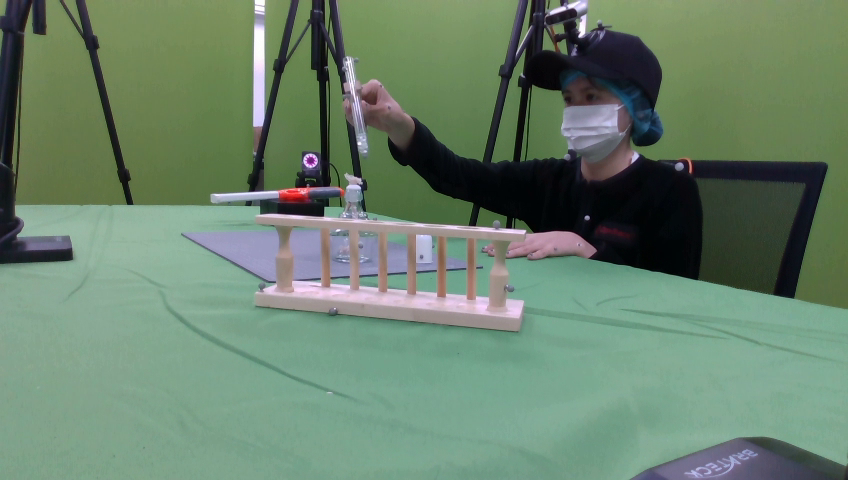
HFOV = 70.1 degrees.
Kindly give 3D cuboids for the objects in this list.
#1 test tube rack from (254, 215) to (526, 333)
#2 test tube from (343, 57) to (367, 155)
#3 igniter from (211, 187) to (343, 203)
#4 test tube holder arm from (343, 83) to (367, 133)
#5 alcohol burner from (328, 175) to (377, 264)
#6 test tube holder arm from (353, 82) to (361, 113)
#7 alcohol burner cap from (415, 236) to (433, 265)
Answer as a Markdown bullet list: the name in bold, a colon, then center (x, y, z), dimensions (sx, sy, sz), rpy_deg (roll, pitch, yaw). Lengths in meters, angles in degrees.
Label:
- **test tube rack**: center (-0.030, 0.025, 0.558), dimensions (0.242, 0.085, 0.067), rpy_deg (4, 7, 12)
- **test tube**: center (-0.100, -0.195, 0.878), dimensions (0.017, 0.150, 0.017), rpy_deg (-9, -12, -2)
- **igniter**: center (-0.300, -0.095, 1.266), dimensions (0.278, 0.025, 0.057), rpy_deg (-6, 12, -34)
- **test tube holder arm**: center (-0.107, -0.204, 0.948), dimensions (0.013, 0.015, 0.178), rpy_deg (-9, -9, 0)
- **alcohol burner**: center (-0.098, -0.028, 0.819), dimensions (0.078, 0.119, 0.078), rpy_deg (1, 8, 0)
- **test tube holder arm**: center (-0.100, -0.212, 0.904), dimensions (0.010, 0.015, 0.088), rpy_deg (-8, -9, -8)
- **alcohol burner cap**: center (-0.004, 0.011, 0.835), dimensions (0.034, 0.048, 0.034), rpy_deg (2, 7, 0)
